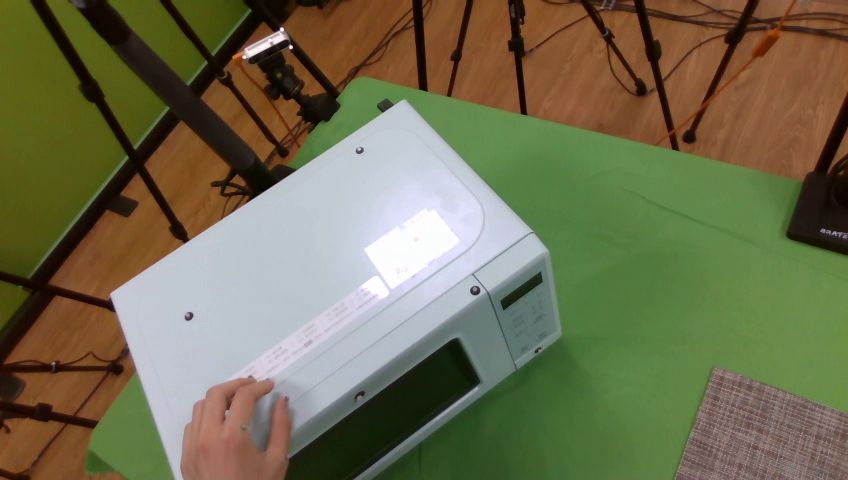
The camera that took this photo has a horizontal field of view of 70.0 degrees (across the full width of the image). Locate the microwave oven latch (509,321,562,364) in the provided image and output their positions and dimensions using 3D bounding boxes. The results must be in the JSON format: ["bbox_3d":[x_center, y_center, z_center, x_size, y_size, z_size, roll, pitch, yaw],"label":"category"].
[{"bbox_3d":[0.146,0.129,0.802,0.079,0.030,0.030,-34,57,-5],"label":"microwave oven latch"}]

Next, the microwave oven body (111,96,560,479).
[{"bbox_3d":[-0.101,0.087,0.783,0.441,0.263,0.322,-36,57,-6],"label":"microwave oven body"}]

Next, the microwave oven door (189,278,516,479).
[{"bbox_3d":[-0.059,0.203,0.695,0.356,0.246,0.039,-36,56,-6],"label":"microwave oven door"}]
